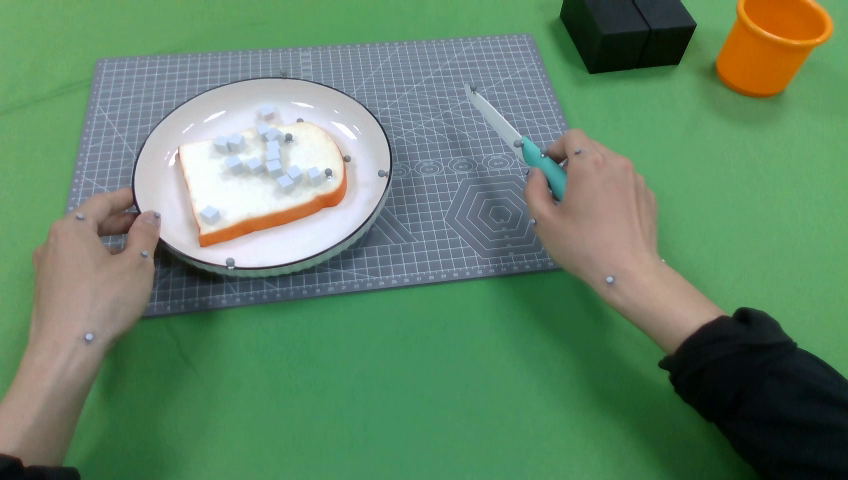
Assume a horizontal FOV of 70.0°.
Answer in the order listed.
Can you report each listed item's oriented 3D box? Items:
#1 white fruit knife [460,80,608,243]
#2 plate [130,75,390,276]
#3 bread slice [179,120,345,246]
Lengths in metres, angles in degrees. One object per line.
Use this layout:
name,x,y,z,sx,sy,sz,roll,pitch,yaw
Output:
white fruit knife,0.083,-0.076,0.502,0.016,0.028,0.205,-23,55,-19
plate,-0.132,-0.055,0.510,0.209,0.038,0.207,2,56,-3
bread slice,-0.135,-0.058,0.514,0.132,0.019,0.104,-19,59,-15
